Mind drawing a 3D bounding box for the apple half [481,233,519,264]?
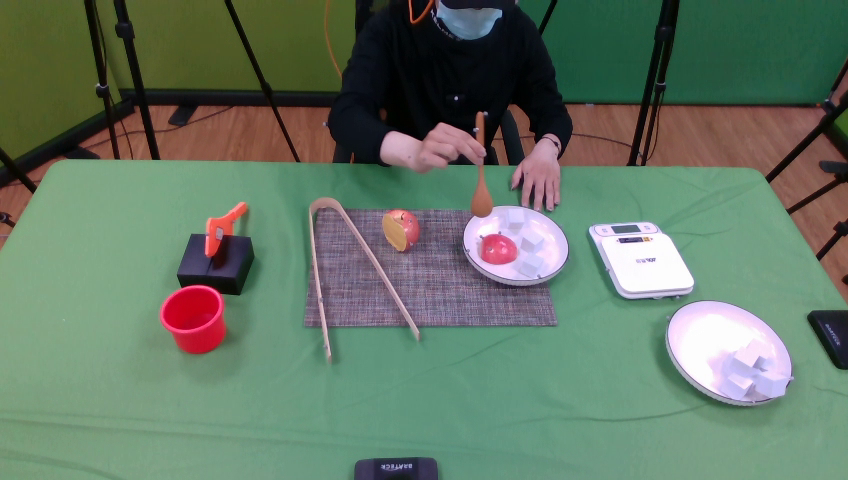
[{"bbox_3d":[0.147,0.010,1.175,0.081,0.033,0.081,0,46,0],"label":"apple half"}]

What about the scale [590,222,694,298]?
[{"bbox_3d":[0.424,0.031,1.189,0.149,0.032,0.199,-3,46,-7],"label":"scale"}]

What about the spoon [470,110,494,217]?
[{"bbox_3d":[0.098,-0.129,1.058,0.041,0.194,0.021,-1,19,10],"label":"spoon"}]

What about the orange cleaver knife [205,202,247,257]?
[{"bbox_3d":[-0.374,-0.023,1.151,0.012,0.077,0.210,4,16,1],"label":"orange cleaver knife"}]

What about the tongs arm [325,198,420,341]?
[{"bbox_3d":[-0.102,0.042,1.140,0.028,0.028,0.385,-22,51,-18],"label":"tongs arm"}]

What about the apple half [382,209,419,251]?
[{"bbox_3d":[-0.039,-0.022,1.175,0.053,0.075,0.080,-27,49,-31],"label":"apple half"}]

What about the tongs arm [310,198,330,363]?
[{"bbox_3d":[-0.180,0.058,1.117,0.051,0.026,0.382,-9,47,-11],"label":"tongs arm"}]

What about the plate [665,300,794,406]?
[{"bbox_3d":[0.513,0.194,1.034,0.208,0.039,0.206,2,46,-2],"label":"plate"}]

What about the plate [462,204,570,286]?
[{"bbox_3d":[0.177,0.013,1.180,0.209,0.038,0.208,2,46,-2],"label":"plate"}]
